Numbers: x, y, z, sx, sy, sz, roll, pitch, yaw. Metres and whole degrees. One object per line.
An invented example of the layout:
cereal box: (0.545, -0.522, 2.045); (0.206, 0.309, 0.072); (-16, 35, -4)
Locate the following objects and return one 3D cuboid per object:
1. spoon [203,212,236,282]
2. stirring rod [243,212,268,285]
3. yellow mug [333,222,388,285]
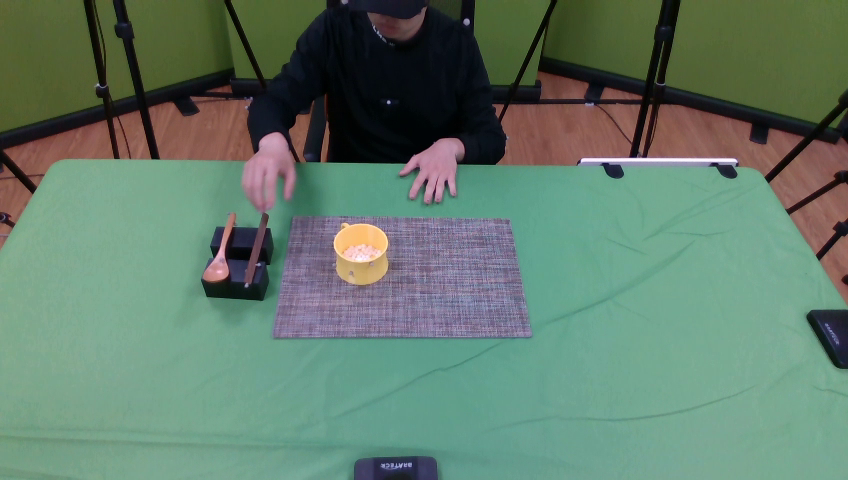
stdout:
spoon: (-0.361, 0.009, 1.097); (0.041, 0.022, 0.192); (0, 44, -3)
stirring rod: (-0.305, 0.012, 1.101); (0.014, 0.006, 0.175); (31, 38, -28)
yellow mug: (-0.127, 0.016, 1.139); (0.100, 0.064, 0.130); (-24, 51, -24)
